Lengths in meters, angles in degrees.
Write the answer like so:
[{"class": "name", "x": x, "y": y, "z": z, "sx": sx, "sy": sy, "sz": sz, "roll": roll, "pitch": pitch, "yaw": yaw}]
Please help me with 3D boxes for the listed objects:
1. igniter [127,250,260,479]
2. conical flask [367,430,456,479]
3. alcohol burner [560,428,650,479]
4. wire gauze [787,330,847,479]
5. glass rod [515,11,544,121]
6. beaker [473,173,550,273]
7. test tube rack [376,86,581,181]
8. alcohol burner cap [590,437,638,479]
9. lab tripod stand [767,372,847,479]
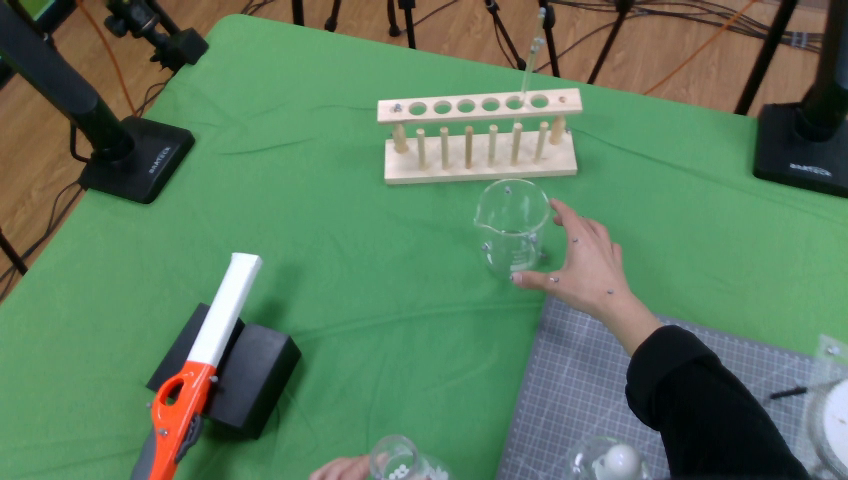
[{"class": "igniter", "x": -0.228, "y": 0.130, "z": 0.600, "sx": 0.057, "sy": 0.025, "sz": 0.274, "roll": 7, "pitch": 59, "yaw": 14}, {"class": "conical flask", "x": -0.015, "y": 0.193, "z": 0.498, "sx": 0.075, "sy": 0.123, "sz": 0.074, "roll": -5, "pitch": 54, "yaw": 7}, {"class": "alcohol burner", "x": 0.161, "y": 0.200, "z": 0.529, "sx": 0.078, "sy": 0.120, "sz": 0.077, "roll": -1, "pitch": 59, "yaw": 2}, {"class": "wire gauze", "x": 0.350, "y": 0.141, "z": 0.458, "sx": 0.121, "sy": 0.011, "sz": 0.124, "roll": 21, "pitch": 64, "yaw": 14}, {"class": "glass rod", "x": 0.118, "y": -0.180, "z": 0.699, "sx": 0.008, "sy": 0.201, "sz": 0.008, "roll": 1, "pitch": 60, "yaw": -1}, {"class": "beaker", "x": 0.094, "y": -0.013, "z": 0.672, "sx": 0.084, "sy": 0.101, "sz": 0.073, "roll": -22, "pitch": 60, "yaw": -7}, {"class": "test tube rack", "x": 0.066, "y": -0.130, "z": 0.751, "sx": 0.242, "sy": 0.086, "sz": 0.066, "roll": -2, "pitch": 60, "yaw": 3}, {"class": "alcohol burner cap", "x": 0.159, "y": 0.179, "z": 0.499, "sx": 0.034, "sy": 0.048, "sz": 0.033, "roll": 0, "pitch": 54, "yaw": 0}, {"class": "lab tripod stand", "x": 0.347, "y": 0.177, "z": 0.516, "sx": 0.148, "sy": 0.132, "sz": 0.147, "roll": -1, "pitch": 59, "yaw": 2}]
